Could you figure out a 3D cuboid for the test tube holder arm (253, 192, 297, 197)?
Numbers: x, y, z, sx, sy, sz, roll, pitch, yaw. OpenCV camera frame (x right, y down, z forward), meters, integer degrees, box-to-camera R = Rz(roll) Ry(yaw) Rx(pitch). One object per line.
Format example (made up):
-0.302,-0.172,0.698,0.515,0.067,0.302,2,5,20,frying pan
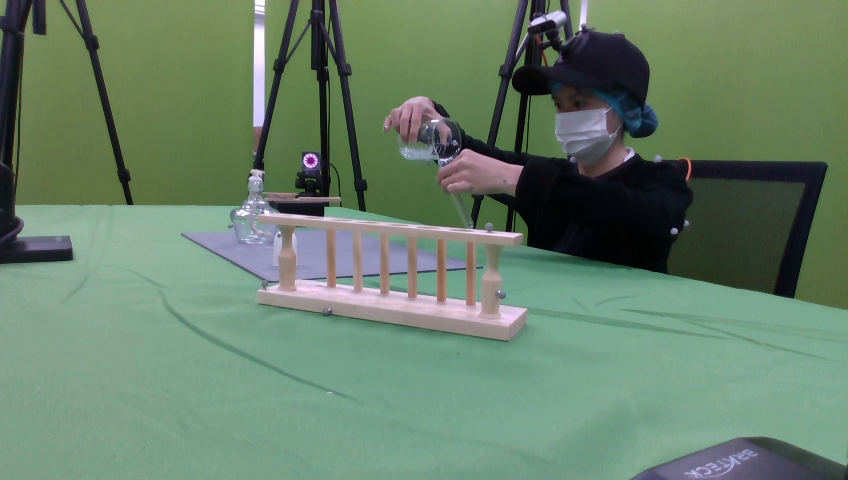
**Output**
-0.301,-0.092,1.223,0.088,0.010,0.015,0,7,-25,test tube holder arm

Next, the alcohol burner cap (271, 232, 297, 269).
-0.175,0.012,0.760,0.034,0.048,0.034,2,8,0,alcohol burner cap

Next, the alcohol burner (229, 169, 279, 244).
-0.268,-0.053,0.958,0.078,0.119,0.078,2,6,0,alcohol burner

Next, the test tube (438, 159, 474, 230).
0.052,-0.077,1.006,0.017,0.017,0.149,-1,53,-28,test tube

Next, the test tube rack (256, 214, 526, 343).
-0.032,0.027,0.547,0.241,0.085,0.067,5,7,22,test tube rack

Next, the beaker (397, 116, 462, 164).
0.006,-0.176,1.080,0.074,0.084,0.100,15,-6,-43,beaker

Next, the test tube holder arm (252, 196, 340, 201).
-0.260,-0.086,1.242,0.179,0.013,0.015,-1,7,-25,test tube holder arm
